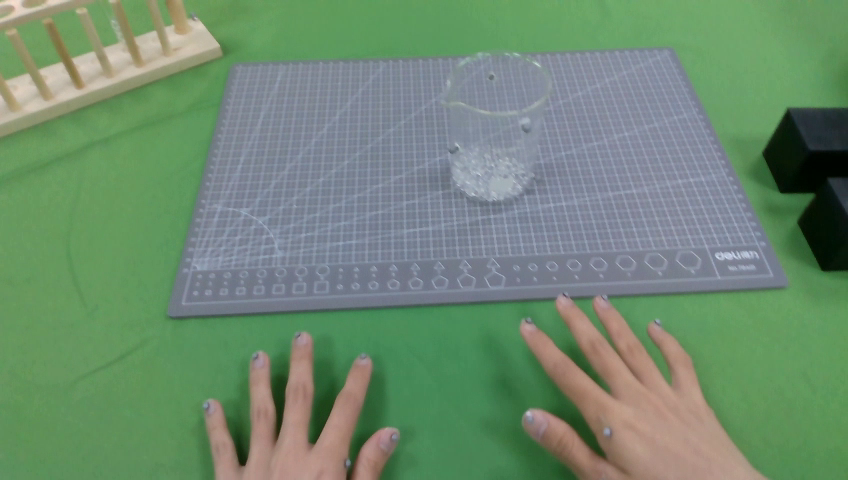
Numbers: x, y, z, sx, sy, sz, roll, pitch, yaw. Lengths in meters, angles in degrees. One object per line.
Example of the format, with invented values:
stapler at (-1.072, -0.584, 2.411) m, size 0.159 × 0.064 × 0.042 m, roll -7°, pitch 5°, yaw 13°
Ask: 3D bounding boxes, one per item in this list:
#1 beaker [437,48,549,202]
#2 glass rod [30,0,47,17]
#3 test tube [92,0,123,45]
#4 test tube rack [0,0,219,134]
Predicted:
beaker at (0.050, -0.085, 0.474) m, size 0.084 × 0.101 × 0.073 m, roll -18°, pitch 53°, yaw -12°
glass rod at (-0.341, -0.224, 0.512) m, size 0.008 × 0.201 × 0.008 m, roll 3°, pitch 53°, yaw -3°
test tube at (-0.306, -0.243, 0.548) m, size 0.017 × 0.151 × 0.017 m, roll -2°, pitch 54°, yaw 3°
test tube rack at (-0.329, -0.184, 0.566) m, size 0.242 × 0.086 × 0.066 m, roll -28°, pitch 57°, yaw -20°
